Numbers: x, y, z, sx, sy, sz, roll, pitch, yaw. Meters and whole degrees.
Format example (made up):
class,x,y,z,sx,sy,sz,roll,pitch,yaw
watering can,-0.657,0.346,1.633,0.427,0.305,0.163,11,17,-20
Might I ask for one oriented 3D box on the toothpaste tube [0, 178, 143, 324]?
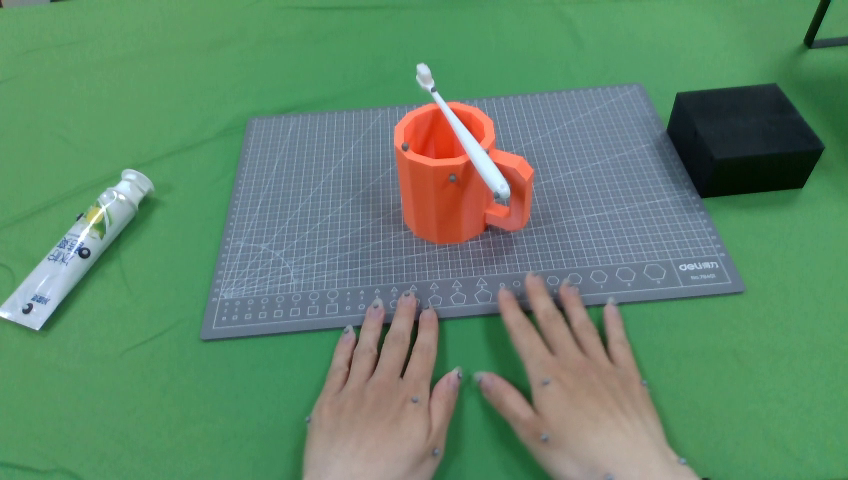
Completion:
class,x,y,z,sx,sy,sz,roll,pitch,yaw
toothpaste tube,-0.319,0.003,0.561,0.055,0.035,0.164,10,54,22

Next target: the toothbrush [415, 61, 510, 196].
class,x,y,z,sx,sy,sz,roll,pitch,yaw
toothbrush,0.028,-0.097,0.499,0.014,0.017,0.180,-17,50,-13

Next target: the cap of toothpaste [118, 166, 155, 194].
class,x,y,z,sx,sy,sz,roll,pitch,yaw
cap of toothpaste,-0.287,-0.058,0.604,0.037,0.038,0.011,7,49,11

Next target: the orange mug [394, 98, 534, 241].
class,x,y,z,sx,sy,sz,roll,pitch,yaw
orange mug,0.035,-0.057,0.533,0.125,0.102,0.083,17,53,24
